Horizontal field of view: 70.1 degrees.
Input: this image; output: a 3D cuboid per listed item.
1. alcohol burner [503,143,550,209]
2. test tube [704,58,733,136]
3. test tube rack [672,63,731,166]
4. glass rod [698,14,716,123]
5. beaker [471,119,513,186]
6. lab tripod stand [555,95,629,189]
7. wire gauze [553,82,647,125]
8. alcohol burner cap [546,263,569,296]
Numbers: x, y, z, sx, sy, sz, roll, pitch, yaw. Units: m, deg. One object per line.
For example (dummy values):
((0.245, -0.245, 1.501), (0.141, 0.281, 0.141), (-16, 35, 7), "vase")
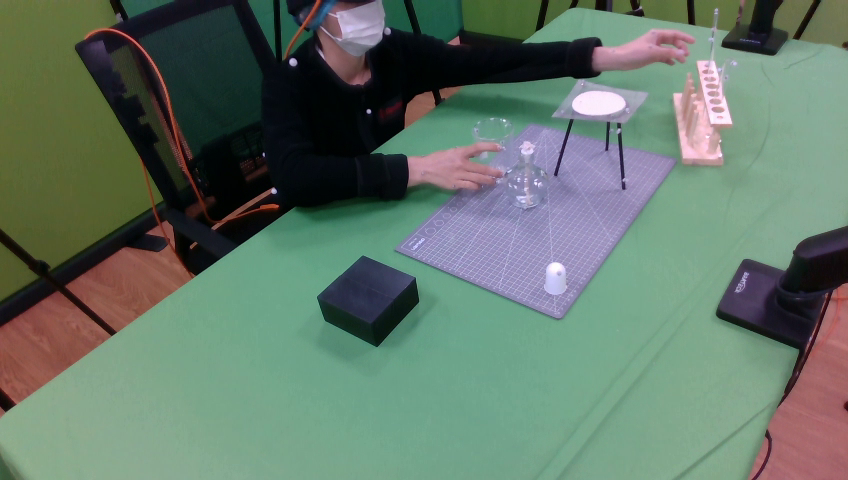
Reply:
((0.171, -0.111, 1.006), (0.078, 0.119, 0.077), (-3, 41, 3), "alcohol burner")
((0.517, -0.247, 1.062), (0.017, 0.151, 0.017), (-3, 43, 4), "test tube")
((0.513, -0.240, 1.132), (0.066, 0.085, 0.242), (4, 41, 14), "test tube rack")
((0.532, -0.320, 1.136), (0.008, 0.200, 0.008), (3, 12, 0), "glass rod")
((0.125, -0.155, 1.077), (0.084, 0.101, 0.073), (-34, 47, -29), "beaker")
((0.301, -0.174, 1.045), (0.148, 0.132, 0.147), (-5, 38, 5), "lab tripod stand")
((0.293, -0.225, 1.002), (0.120, 0.011, 0.125), (17, 45, 27), "wire gauze")
((0.191, 0.053, 0.862), (0.034, 0.048, 0.033), (-5, 40, 4), "alcohol burner cap")
